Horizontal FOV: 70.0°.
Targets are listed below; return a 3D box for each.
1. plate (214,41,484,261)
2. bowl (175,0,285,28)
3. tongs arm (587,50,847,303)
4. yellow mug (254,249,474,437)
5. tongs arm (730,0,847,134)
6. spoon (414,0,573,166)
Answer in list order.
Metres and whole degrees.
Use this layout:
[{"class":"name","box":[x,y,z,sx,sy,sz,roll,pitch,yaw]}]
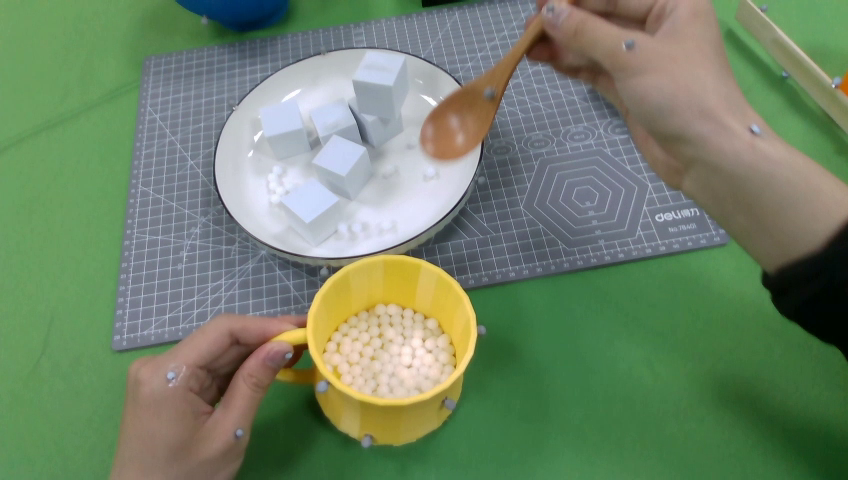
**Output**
[{"class":"plate","box":[-0.057,-0.071,0.478,0.207,0.039,0.206,-2,60,4]},{"class":"bowl","box":[-0.179,-0.257,0.573,0.151,0.077,0.150,-2,60,4]},{"class":"tongs arm","box":[0.253,-0.017,0.426,0.028,0.028,0.384,-32,64,-19]},{"class":"yellow mug","box":[-0.038,0.065,0.373,0.131,0.064,0.099,-6,55,-10]},{"class":"tongs arm","box":[0.325,-0.052,0.440,0.051,0.027,0.381,-21,63,-10]},{"class":"spoon","box":[0.061,-0.115,0.349,0.194,0.022,0.041,-46,68,29]}]
